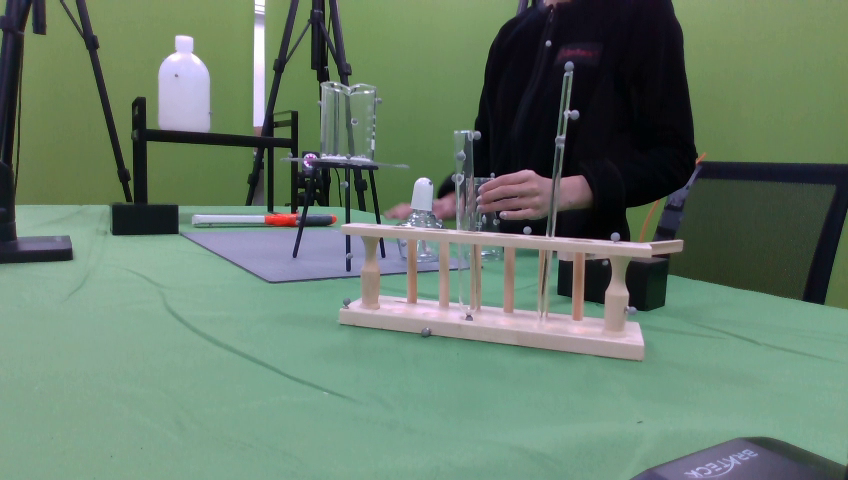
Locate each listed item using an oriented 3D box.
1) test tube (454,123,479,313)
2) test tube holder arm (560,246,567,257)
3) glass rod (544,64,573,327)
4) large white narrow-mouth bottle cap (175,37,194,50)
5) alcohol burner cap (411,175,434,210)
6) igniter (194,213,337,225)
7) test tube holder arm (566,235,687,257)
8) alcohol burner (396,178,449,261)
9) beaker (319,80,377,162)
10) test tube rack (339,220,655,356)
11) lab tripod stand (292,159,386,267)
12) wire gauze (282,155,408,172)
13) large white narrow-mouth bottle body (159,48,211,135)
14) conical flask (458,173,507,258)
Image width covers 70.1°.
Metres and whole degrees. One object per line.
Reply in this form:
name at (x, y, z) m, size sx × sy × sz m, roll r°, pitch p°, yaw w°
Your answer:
test tube at (0.034, -0.016, 0.477) m, size 0.017 × 0.150 × 0.017 m, roll -2°, pitch 9°, yaw 1°
test tube holder arm at (0.173, 0.007, 0.611) m, size 0.088 × 0.015 × 0.010 m, roll -3°, pitch 9°, yaw -30°
glass rod at (0.101, -0.028, 0.453) m, size 0.008 × 0.199 × 0.008 m, roll 2°, pitch 13°, yaw 0°
large white narrow-mouth bottle cap at (-0.501, -0.409, 1.264) m, size 0.038 × 0.024 × 0.037 m, roll 2°, pitch 7°, yaw 0°
alcohol burner cap at (0.000, -0.067, 0.842) m, size 0.034 × 0.048 × 0.034 m, roll 7°, pitch 8°, yaw -1°
igniter at (-0.306, -0.042, 1.196) m, size 0.278 × 0.025 × 0.057 m, roll -2°, pitch -2°, yaw -30°
test tube holder arm at (0.215, 0.006, 0.630) m, size 0.179 × 0.015 × 0.013 m, roll -3°, pitch 9°, yaw -31°
alcohol burner at (-0.002, -0.031, 0.846) m, size 0.078 × 0.119 × 0.078 m, roll 0°, pitch 6°, yaw 0°
beaker at (-0.098, -0.150, 0.777) m, size 0.074 × 0.100 × 0.084 m, roll 1°, pitch 7°, yaw -7°
test tube rack at (0.056, 0.032, 0.495) m, size 0.242 × 0.085 × 0.067 m, roll 4°, pitch 7°, yaw 15°
lab tripod stand at (-0.105, -0.039, 0.797) m, size 0.148 × 0.131 × 0.148 m, roll 2°, pitch 5°, yaw 0°
wire gauze at (-0.104, -0.103, 0.785) m, size 0.126 × 0.011 × 0.121 m, roll 1°, pitch 8°, yaw -39°
large white narrow-mouth bottle body at (-0.503, -0.323, 1.275) m, size 0.102 × 0.194 × 0.102 m, roll 2°, pitch 7°, yaw 0°
conical flask at (0.089, -0.038, 0.902) m, size 0.075 × 0.122 × 0.075 m, roll 0°, pitch 9°, yaw 0°
